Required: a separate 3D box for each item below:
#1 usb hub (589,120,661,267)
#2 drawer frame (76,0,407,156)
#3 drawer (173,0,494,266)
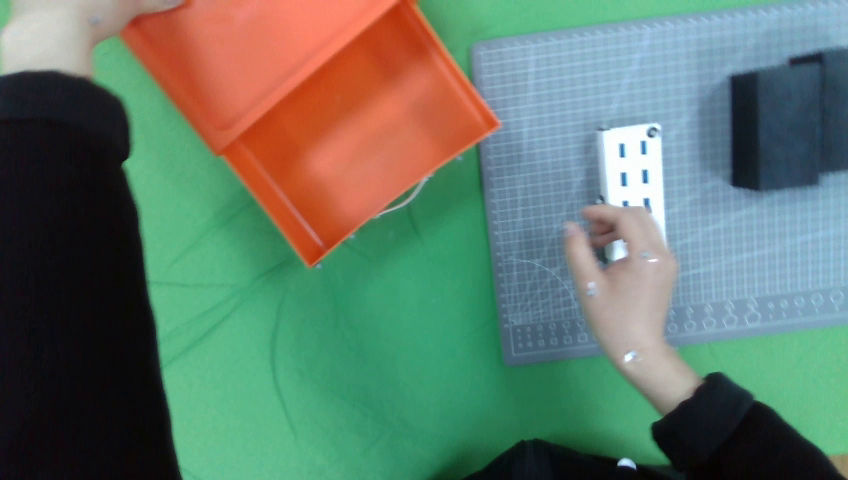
[{"bbox_3d":[0.179,-0.041,0.537,0.049,0.025,0.125,-8,101,1],"label":"usb hub"},{"bbox_3d":[-0.156,-0.210,0.478,0.201,0.082,0.214,-39,98,7],"label":"drawer frame"},{"bbox_3d":[-0.082,-0.120,0.498,0.194,0.073,0.212,-36,99,8],"label":"drawer"}]
